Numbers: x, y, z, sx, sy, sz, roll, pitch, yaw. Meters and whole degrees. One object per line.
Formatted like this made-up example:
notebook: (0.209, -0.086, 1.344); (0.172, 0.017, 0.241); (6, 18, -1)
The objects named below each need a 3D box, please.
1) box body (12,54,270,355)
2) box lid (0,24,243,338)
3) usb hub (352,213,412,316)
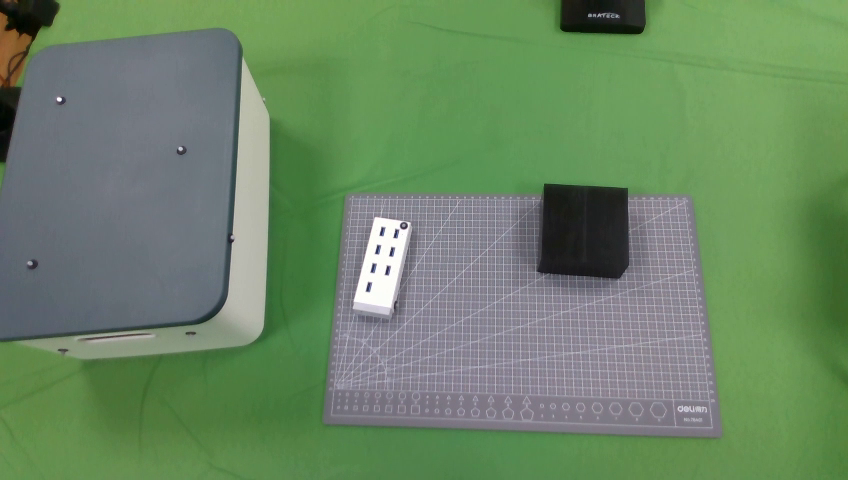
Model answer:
box body: (-0.330, -0.052, 0.736); (0.254, 0.161, 0.361); (-5, 68, 2)
box lid: (-0.335, -0.078, 0.667); (0.263, 0.015, 0.368); (-5, 68, 3)
usb hub: (-0.052, 0.030, 0.757); (0.049, 0.025, 0.124); (10, 70, 7)
